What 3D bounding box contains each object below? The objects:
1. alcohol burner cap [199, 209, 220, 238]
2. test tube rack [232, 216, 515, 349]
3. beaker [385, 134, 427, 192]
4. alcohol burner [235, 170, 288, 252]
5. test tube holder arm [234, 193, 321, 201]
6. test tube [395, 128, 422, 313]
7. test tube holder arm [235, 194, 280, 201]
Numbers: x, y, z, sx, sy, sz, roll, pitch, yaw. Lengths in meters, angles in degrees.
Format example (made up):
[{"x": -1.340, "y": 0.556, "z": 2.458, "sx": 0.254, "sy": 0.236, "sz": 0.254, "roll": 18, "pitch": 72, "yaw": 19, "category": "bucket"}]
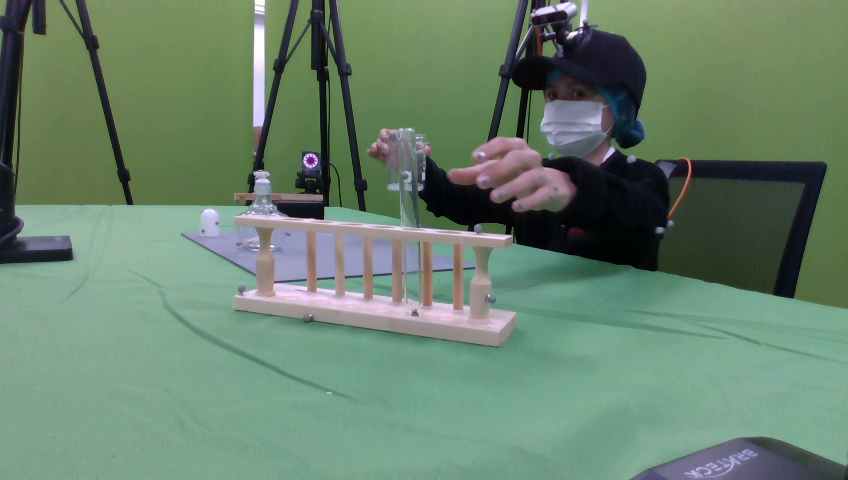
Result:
[{"x": -0.356, "y": -0.027, "z": 1.002, "sx": 0.034, "sy": 0.048, "sz": 0.034, "roll": 2, "pitch": 7, "yaw": 0, "category": "alcohol burner cap"}, {"x": -0.045, "y": 0.029, "z": 0.526, "sx": 0.241, "sy": 0.085, "sz": 0.067, "roll": 5, "pitch": 7, "yaw": 19, "category": "test tube rack"}, {"x": -0.033, "y": -0.136, "z": 1.077, "sx": 0.074, "sy": 0.100, "sz": 0.084, "roll": 3, "pitch": 7, "yaw": 4, "category": "beaker"}, {"x": -0.236, "y": -0.042, "z": 0.882, "sx": 0.078, "sy": 0.119, "sz": 0.078, "roll": 2, "pitch": 9, "yaw": 0, "category": "alcohol burner"}, {"x": -0.299, "y": -0.088, "z": 1.249, "sx": 0.179, "sy": 0.015, "sz": 0.013, "roll": -2, "pitch": 18, "yaw": -30, "category": "test tube holder arm"}, {"x": -0.012, "y": -0.015, "z": 0.491, "sx": 0.017, "sy": 0.150, "sz": 0.017, "roll": -2, "pitch": 5, "yaw": 1, "category": "test tube"}, {"x": -0.336, "y": -0.086, "z": 1.221, "sx": 0.088, "sy": 0.015, "sz": 0.010, "roll": -2, "pitch": 18, "yaw": -29, "category": "test tube holder arm"}]
